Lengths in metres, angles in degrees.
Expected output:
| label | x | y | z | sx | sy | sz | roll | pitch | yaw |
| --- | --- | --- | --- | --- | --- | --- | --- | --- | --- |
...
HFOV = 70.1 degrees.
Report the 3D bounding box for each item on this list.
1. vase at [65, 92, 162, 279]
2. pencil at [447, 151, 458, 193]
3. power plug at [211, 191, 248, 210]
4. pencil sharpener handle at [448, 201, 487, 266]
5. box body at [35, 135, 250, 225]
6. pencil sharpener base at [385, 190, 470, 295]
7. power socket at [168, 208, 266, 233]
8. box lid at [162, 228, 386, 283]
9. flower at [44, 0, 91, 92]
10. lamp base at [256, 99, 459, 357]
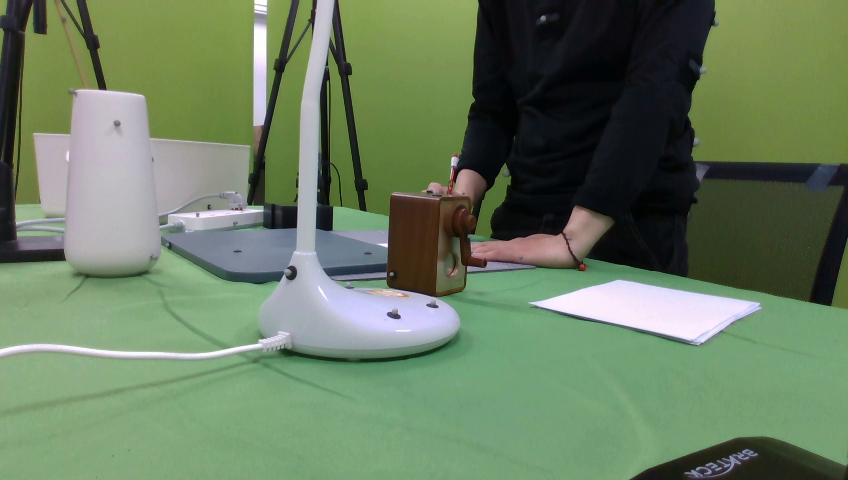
| label | x | y | z | sx | sy | sz | roll | pitch | yaw |
| --- | --- | --- | --- | --- | --- | --- | --- | --- | --- |
| vase | -0.347 | -0.060 | 0.673 | 0.098 | 0.200 | 0.098 | 1 | 7 | 0 |
| pencil | 0.043 | -0.076 | 1.027 | 0.012 | 0.193 | 0.012 | 7 | -33 | 5 |
| power plug | -0.384 | -0.071 | 1.205 | 0.072 | 0.052 | 0.035 | 1 | 8 | 28 |
| pencil sharpener handle | 0.049 | -0.006 | 0.623 | 0.030 | 0.068 | 0.036 | 8 | 22 | 37 |
| box body | -0.559 | -0.127 | 1.257 | 0.253 | 0.160 | 0.365 | 4 | 8 | 15 |
| pencil sharpener base | 0.006 | 0.001 | 0.653 | 0.076 | 0.107 | 0.061 | 8 | 9 | 37 |
| power socket | -0.379 | -0.038 | 1.129 | 0.072 | 0.032 | 0.227 | 4 | 8 | 18 |
| box lid | -0.200 | 0.014 | 0.861 | 0.265 | 0.015 | 0.369 | -4 | 10 | -35 |
| flower | -0.361 | -0.142 | 0.663 | 0.044 | 0.361 | 0.038 | -12 | 11 | 31 |
| lamp base | -0.055 | -0.013 | 0.463 | 0.160 | 0.180 | 0.180 | 6 | 11 | 27 |
